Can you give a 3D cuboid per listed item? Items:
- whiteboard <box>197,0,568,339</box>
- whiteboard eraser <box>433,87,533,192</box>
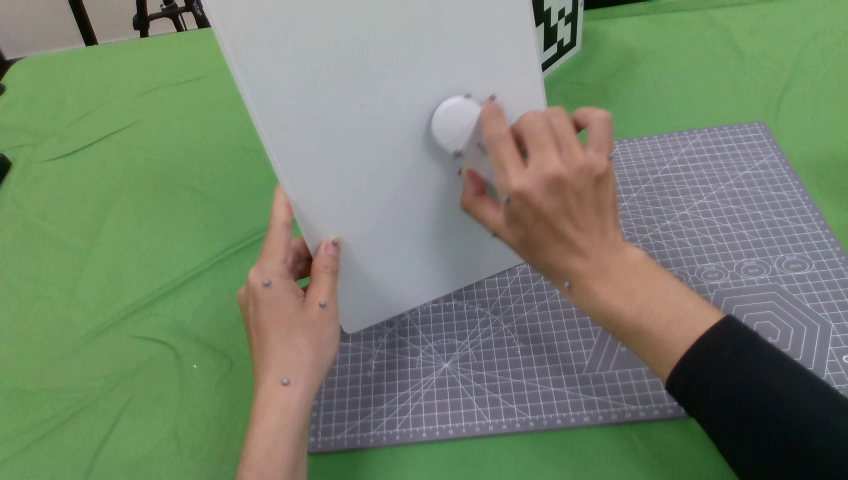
[{"bbox_3d":[-0.027,-0.111,0.509,0.217,0.308,0.142,-22,31,-8],"label":"whiteboard"},{"bbox_3d":[0.047,-0.076,0.467,0.041,0.102,0.018,-46,32,5],"label":"whiteboard eraser"}]
